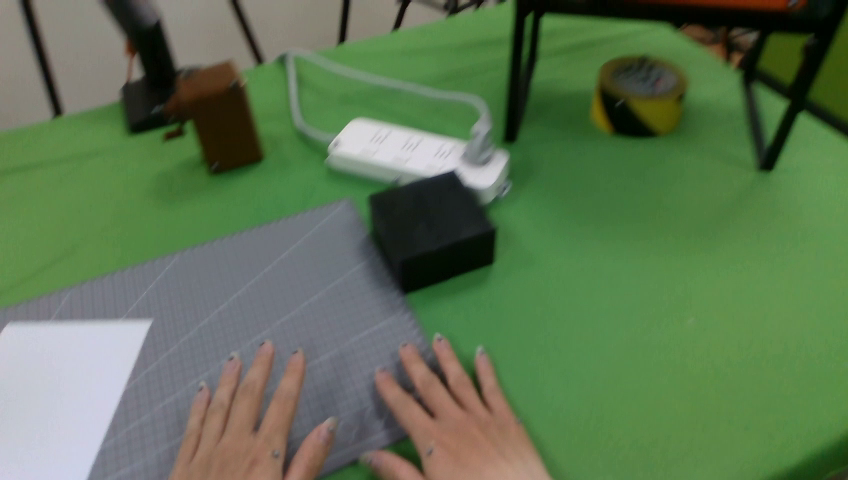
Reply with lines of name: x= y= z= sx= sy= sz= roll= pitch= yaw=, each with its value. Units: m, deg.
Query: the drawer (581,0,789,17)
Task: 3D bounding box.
drawer: x=0.273 y=-0.319 z=0.643 sx=0.194 sy=0.074 sz=0.210 roll=7 pitch=45 yaw=11

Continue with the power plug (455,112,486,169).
power plug: x=0.062 y=-0.106 z=0.695 sx=0.035 sy=0.053 sz=0.072 roll=23 pitch=51 yaw=24

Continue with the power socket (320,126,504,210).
power socket: x=-0.016 y=-0.088 z=0.715 sx=0.225 sy=0.033 sz=0.072 roll=15 pitch=47 yaw=18

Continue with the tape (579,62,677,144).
tape: x=0.261 y=-0.178 z=0.778 sx=0.117 sy=0.053 sz=0.115 roll=-1 pitch=45 yaw=2

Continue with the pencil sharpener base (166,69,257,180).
pencil sharpener base: x=-0.253 y=-0.135 z=0.721 sx=0.077 sy=0.108 sz=0.060 roll=-22 pitch=48 yaw=-17

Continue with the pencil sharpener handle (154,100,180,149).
pencil sharpener handle: x=-0.302 y=-0.130 z=0.700 sx=0.031 sy=0.068 sz=0.035 roll=-22 pitch=69 yaw=-17

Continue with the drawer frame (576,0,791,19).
drawer frame: x=0.271 y=-0.321 z=0.644 sx=0.201 sy=0.083 sz=0.212 roll=7 pitch=45 yaw=11
